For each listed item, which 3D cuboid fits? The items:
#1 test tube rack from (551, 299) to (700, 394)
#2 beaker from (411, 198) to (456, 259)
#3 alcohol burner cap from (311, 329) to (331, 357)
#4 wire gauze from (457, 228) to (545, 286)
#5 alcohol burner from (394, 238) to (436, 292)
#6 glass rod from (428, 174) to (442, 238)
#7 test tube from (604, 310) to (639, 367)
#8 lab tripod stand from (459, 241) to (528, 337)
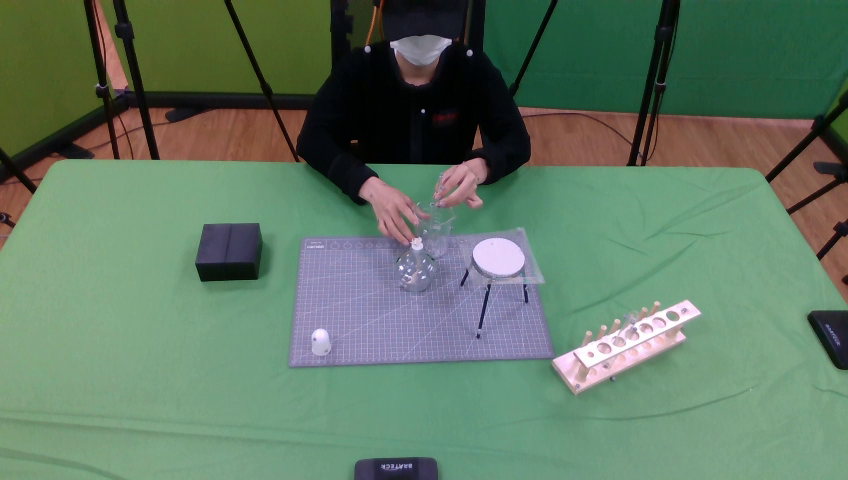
[{"bbox_3d":[0.339,0.166,1.021,0.242,0.085,0.066,-19,50,-21],"label":"test tube rack"},{"bbox_3d":[0.016,-0.019,1.161,0.084,0.101,0.073,6,46,1],"label":"beaker"},{"bbox_3d":[-0.173,0.168,1.004,0.034,0.048,0.033,2,46,-2],"label":"alcohol burner cap"},{"bbox_3d":[0.126,0.029,1.006,0.125,0.011,0.120,-4,46,-10],"label":"wire gauze"},{"bbox_3d":[-0.016,0.038,1.093,0.078,0.119,0.077,2,48,-2],"label":"alcohol burner"},{"bbox_3d":[0.020,-0.059,1.128,0.008,0.200,0.008,3,58,-5],"label":"glass rod"},{"bbox_3d":[0.310,0.158,0.957,0.017,0.151,0.017,1,49,-1],"label":"test tube"},{"bbox_3d":[0.122,0.075,1.054,0.148,0.132,0.147,3,44,-3],"label":"lab tripod stand"}]
